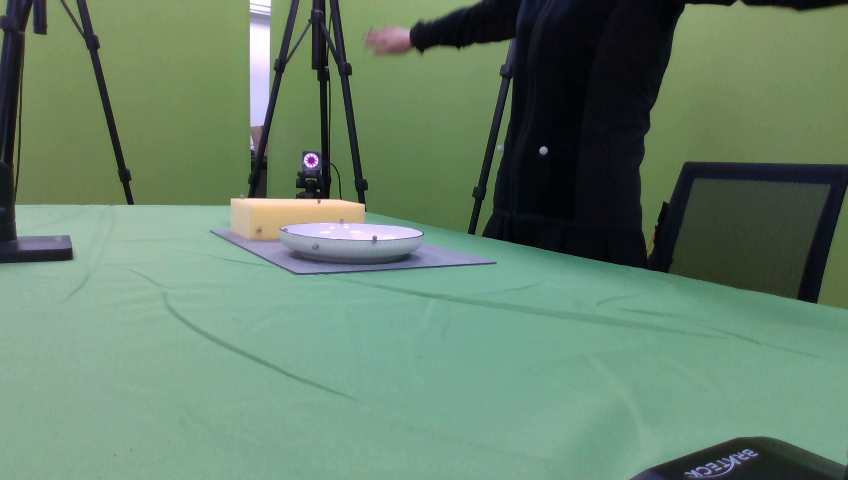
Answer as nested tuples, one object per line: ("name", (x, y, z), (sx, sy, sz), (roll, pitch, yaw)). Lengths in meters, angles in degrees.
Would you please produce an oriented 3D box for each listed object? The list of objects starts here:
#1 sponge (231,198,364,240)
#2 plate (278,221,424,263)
("sponge", (-0.223, -0.040, 1.071), (0.208, 0.061, 0.117), (-3, 9, -33))
("plate", (-0.103, 0.003, 0.871), (0.209, 0.038, 0.209), (2, 7, 0))
